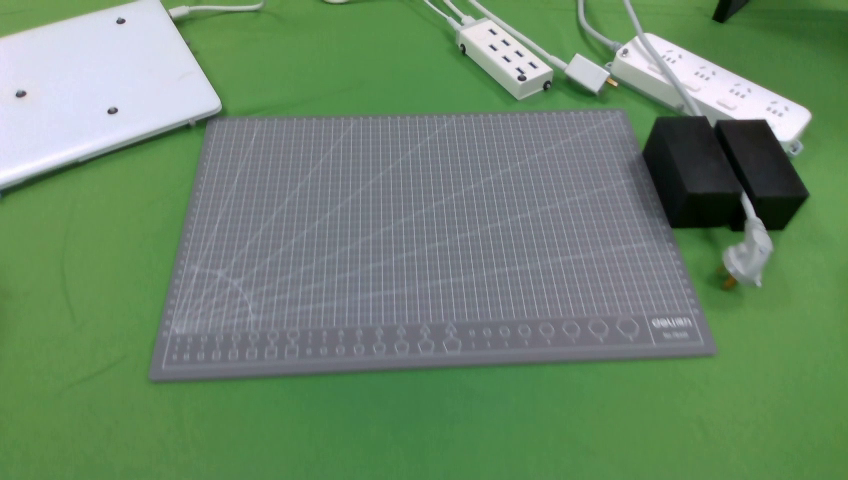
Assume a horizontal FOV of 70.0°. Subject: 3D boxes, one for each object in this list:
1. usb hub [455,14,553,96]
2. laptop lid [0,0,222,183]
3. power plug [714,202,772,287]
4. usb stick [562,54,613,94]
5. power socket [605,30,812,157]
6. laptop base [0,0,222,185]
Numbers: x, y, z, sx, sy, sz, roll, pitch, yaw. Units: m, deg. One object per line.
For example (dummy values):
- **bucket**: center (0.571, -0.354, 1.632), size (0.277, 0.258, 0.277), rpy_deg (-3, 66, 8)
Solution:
- **usb hub**: center (0.091, -0.217, 0.704), size (0.049, 0.025, 0.124), rpy_deg (-27, 58, -20)
- **laptop lid**: center (-0.420, -0.154, 0.634), size (0.357, 0.013, 0.239), rpy_deg (-24, 60, -18)
- **power plug**: center (0.278, 0.008, 0.529), size (0.035, 0.053, 0.072), rpy_deg (36, 44, 0)
- **usb stick**: center (0.188, -0.184, 0.681), size (0.059, 0.027, 0.021), rpy_deg (27, 11, 1)
- **power socket**: center (0.310, -0.165, 0.666), size (0.225, 0.033, 0.072), rpy_deg (38, 60, 24)
- **laptop base**: center (-0.421, -0.149, 0.645), size (0.355, 0.023, 0.233), rpy_deg (-26, 61, -19)
